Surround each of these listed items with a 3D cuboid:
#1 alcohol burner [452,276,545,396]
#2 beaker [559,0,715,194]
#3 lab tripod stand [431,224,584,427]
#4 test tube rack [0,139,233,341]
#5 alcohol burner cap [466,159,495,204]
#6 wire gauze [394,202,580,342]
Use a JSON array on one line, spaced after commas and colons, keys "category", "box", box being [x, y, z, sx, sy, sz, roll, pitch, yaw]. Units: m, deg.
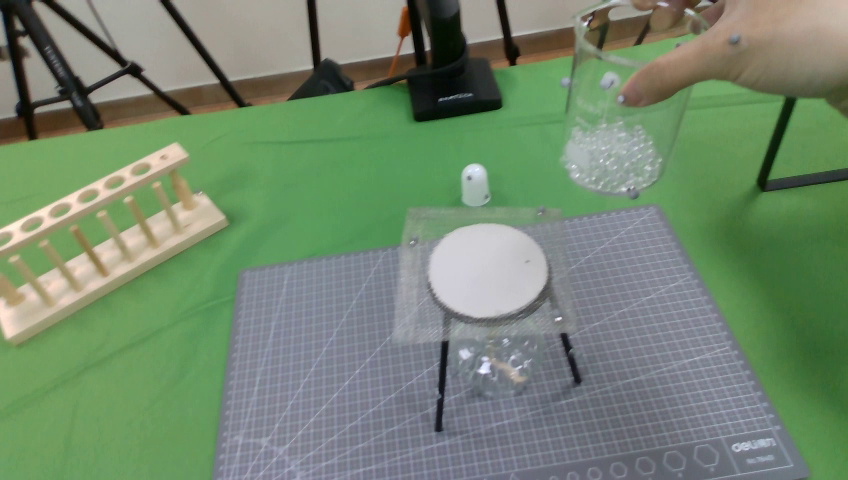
[{"category": "alcohol burner", "box": [0.059, 0.072, 0.486, 0.078, 0.120, 0.077, -5, 45, 5]}, {"category": "beaker", "box": [0.121, -0.085, 0.373, 0.083, 0.101, 0.074, 33, 58, 29]}, {"category": "lab tripod stand", "box": [0.055, 0.067, 0.477, 0.148, 0.133, 0.147, -4, 49, 5]}, {"category": "test tube rack", "box": [-0.337, -0.005, 0.639, 0.242, 0.086, 0.066, -33, 52, -21]}, {"category": "alcohol burner cap", "box": [0.061, -0.067, 0.669, 0.034, 0.048, 0.033, -5, 48, 6]}, {"category": "wire gauze", "box": [0.044, 0.017, 0.432, 0.121, 0.011, 0.124, -1, 49, 7]}]
